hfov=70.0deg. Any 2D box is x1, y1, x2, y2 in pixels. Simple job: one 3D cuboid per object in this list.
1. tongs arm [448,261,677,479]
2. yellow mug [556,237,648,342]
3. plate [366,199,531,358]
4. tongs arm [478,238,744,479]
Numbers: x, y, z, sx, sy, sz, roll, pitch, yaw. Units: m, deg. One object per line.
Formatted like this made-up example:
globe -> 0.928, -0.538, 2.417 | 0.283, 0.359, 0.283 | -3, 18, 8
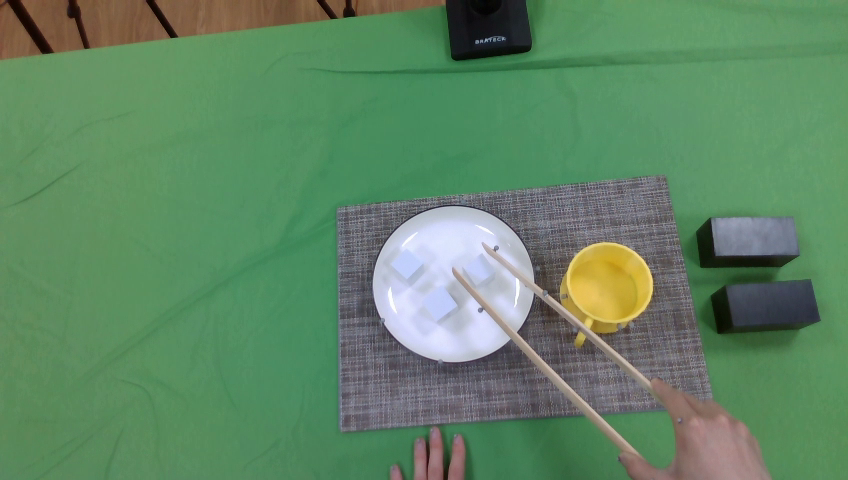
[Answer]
tongs arm -> 0.144, 0.133, 0.636 | 0.028, 0.028, 0.383 | -37, 50, -13
yellow mug -> 0.209, 0.066, 0.740 | 0.099, 0.064, 0.130 | 26, 76, 12
plate -> 0.031, 0.050, 0.776 | 0.207, 0.039, 0.206 | -1, 72, 4
tongs arm -> 0.169, 0.113, 0.641 | 0.051, 0.027, 0.380 | -40, 51, -12
